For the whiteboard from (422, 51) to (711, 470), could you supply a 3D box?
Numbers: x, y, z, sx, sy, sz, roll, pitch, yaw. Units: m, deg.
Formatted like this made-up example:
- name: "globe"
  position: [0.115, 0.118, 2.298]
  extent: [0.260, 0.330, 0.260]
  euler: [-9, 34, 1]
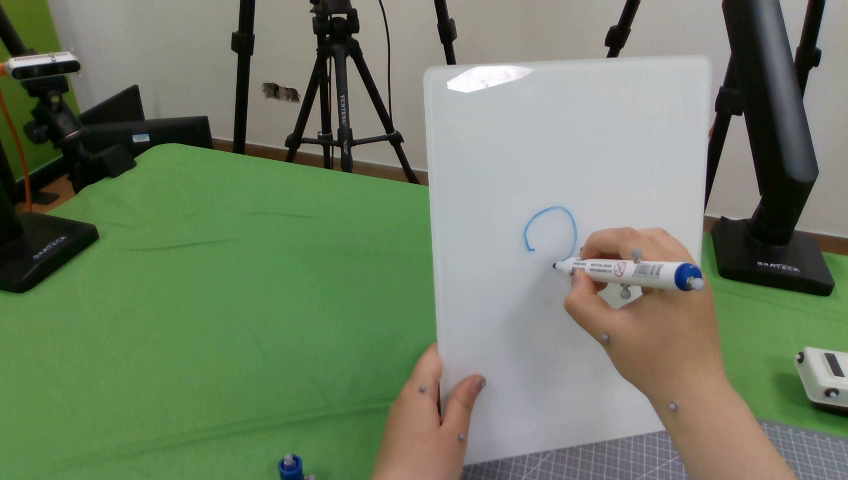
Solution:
- name: "whiteboard"
  position: [0.099, 0.006, 0.519]
  extent: [0.218, 0.306, 0.143]
  euler: [-5, 15, -10]

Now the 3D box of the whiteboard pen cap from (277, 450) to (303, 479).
- name: "whiteboard pen cap"
  position: [-0.099, 0.172, 0.450]
  extent: [0.018, 0.033, 0.018]
  euler: [2, 35, -1]

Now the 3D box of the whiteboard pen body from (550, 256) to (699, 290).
- name: "whiteboard pen body"
  position: [0.118, 0.019, 0.385]
  extent: [0.017, 0.017, 0.140]
  euler: [-11, 4, -19]

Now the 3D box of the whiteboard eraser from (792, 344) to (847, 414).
- name: "whiteboard eraser"
  position: [0.393, 0.129, 0.535]
  extent: [0.112, 0.042, 0.055]
  euler: [9, 37, 9]
